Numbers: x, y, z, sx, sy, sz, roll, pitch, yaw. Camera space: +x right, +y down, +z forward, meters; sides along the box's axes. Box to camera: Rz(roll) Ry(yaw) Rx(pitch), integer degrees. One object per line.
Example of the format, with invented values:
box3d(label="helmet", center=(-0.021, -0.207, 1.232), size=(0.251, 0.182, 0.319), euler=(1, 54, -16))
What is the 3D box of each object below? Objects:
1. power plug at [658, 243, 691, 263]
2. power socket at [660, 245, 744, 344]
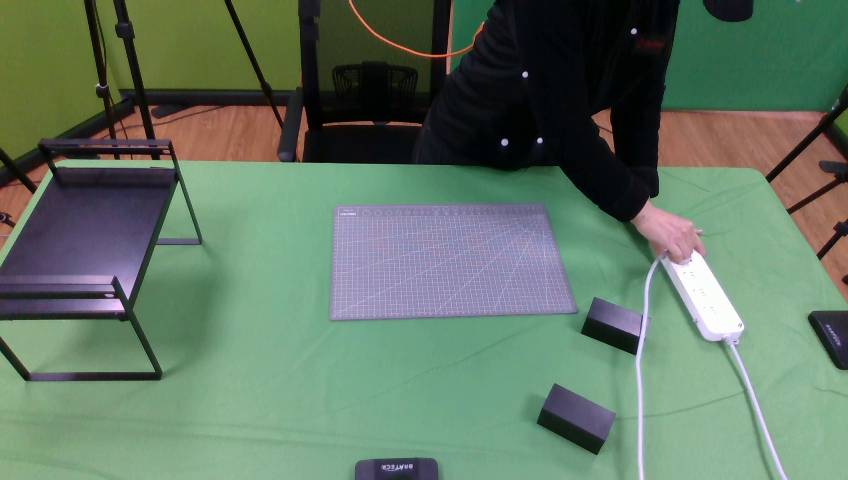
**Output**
box3d(label="power plug", center=(0.477, 0.028, 1.166), size=(0.072, 0.053, 0.035), euler=(3, 44, -1))
box3d(label="power socket", center=(0.516, 0.095, 1.136), size=(0.072, 0.033, 0.225), euler=(-4, 47, -7))
